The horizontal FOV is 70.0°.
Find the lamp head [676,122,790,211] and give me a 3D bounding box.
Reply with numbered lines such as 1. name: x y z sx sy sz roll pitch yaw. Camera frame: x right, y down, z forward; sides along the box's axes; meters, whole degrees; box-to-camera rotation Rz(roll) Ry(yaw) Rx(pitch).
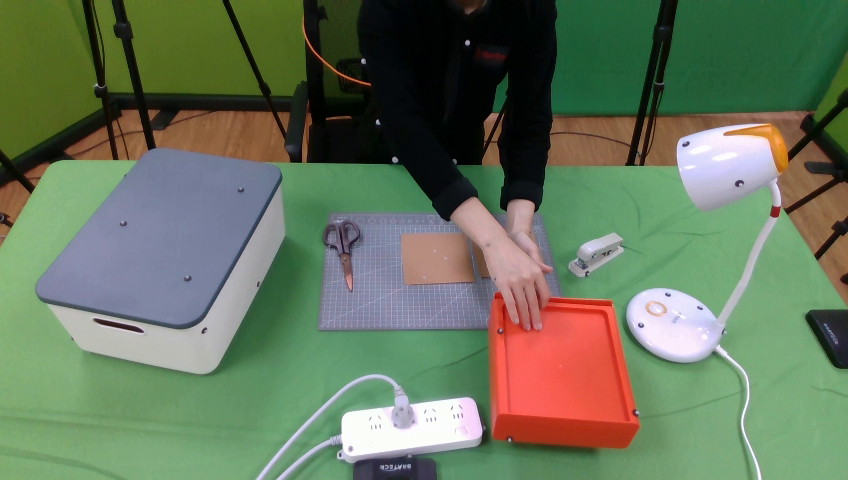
1. lamp head: 0.423 -0.104 0.819 0.122 0.113 0.112 -13 33 40

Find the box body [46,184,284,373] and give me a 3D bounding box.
1. box body: -0.414 0.029 1.040 0.254 0.161 0.362 10 46 5

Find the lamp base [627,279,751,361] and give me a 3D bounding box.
1. lamp base: 0.460 0.100 1.027 0.178 0.181 0.160 27 51 17

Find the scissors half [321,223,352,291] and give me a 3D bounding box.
1. scissors half: -0.163 0.031 1.160 0.040 0.013 0.174 -17 51 -14

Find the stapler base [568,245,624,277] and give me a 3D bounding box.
1. stapler base: 0.341 0.029 1.195 0.130 0.024 0.041 -26 57 -28

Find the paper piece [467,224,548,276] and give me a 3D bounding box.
1. paper piece: 0.163 0.019 1.199 0.136 0.009 0.137 -1 45 -10

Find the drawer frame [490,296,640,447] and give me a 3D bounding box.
1. drawer frame: 0.205 0.195 0.928 0.202 0.083 0.212 4 45 0

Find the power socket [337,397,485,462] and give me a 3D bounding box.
1. power socket: -0.018 0.285 0.915 0.227 0.033 0.071 -5 46 -8

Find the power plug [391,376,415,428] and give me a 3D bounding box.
1. power plug: -0.030 0.249 0.917 0.035 0.053 0.072 3 46 0

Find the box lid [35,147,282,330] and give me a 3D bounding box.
1. box lid: -0.411 -0.023 0.987 0.263 0.015 0.369 10 47 5

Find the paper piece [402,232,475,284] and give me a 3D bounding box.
1. paper piece: 0.026 0.032 1.175 0.135 0.004 0.135 0 46 -5

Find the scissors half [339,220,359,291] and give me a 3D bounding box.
1. scissors half: -0.144 0.026 1.162 0.040 0.013 0.174 -7 50 1

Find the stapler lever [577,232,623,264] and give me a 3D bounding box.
1. stapler lever: 0.345 0.010 1.178 0.118 0.040 0.026 -26 57 -28

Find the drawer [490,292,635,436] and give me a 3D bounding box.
1. drawer: 0.204 0.186 0.934 0.194 0.073 0.210 5 47 -1
